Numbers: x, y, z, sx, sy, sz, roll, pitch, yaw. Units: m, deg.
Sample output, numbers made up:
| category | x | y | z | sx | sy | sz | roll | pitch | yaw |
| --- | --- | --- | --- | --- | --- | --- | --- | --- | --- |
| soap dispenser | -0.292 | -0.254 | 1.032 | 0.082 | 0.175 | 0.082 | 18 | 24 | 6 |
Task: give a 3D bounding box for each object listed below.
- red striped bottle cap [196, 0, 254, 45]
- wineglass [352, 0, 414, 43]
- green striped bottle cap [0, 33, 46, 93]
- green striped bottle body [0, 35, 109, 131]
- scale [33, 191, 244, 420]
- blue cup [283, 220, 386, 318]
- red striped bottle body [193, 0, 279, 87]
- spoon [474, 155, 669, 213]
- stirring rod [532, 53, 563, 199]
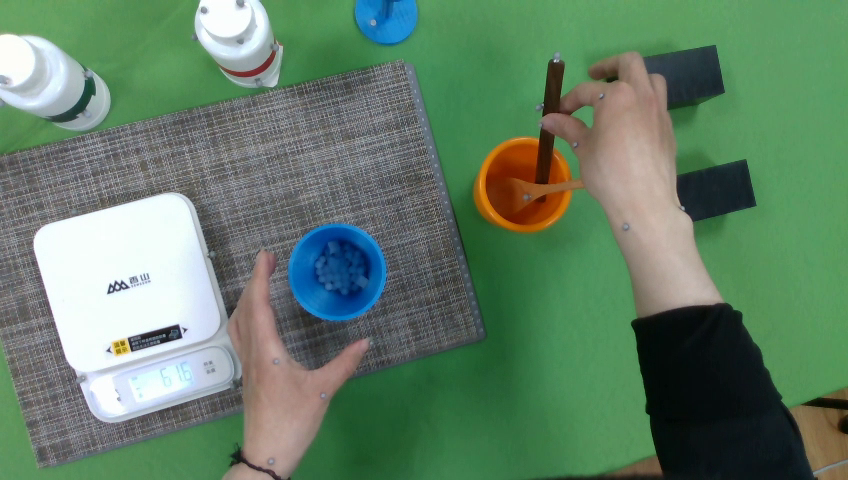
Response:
| category | x | y | z | sx | sy | sz | roll | pitch | yaw |
| --- | --- | --- | --- | --- | --- | --- | --- | --- | --- |
| red striped bottle cap | -0.165 | -0.187 | 0.504 | 0.044 | 0.018 | 0.044 | 0 | 87 | -5 |
| wineglass | -0.034 | -0.239 | 0.547 | 0.074 | 0.172 | 0.073 | 0 | 89 | -6 |
| green striped bottle cap | -0.328 | -0.141 | 0.481 | 0.044 | 0.020 | 0.044 | 0 | 90 | -5 |
| green striped bottle body | -0.334 | -0.138 | 0.537 | 0.063 | 0.119 | 0.063 | 0 | 89 | -7 |
| scale | -0.271 | 0.063 | 0.583 | 0.149 | 0.031 | 0.201 | -16 | 92 | -6 |
| blue cup | -0.080 | 0.025 | 0.571 | 0.093 | 0.100 | 0.092 | 0 | 90 | -6 |
| red striped bottle body | -0.171 | -0.186 | 0.557 | 0.063 | 0.119 | 0.063 | 0 | 89 | -7 |
| spoon | 0.133 | -0.056 | 0.578 | 0.022 | 0.193 | 0.041 | -15 | 97 | -51 |
| stirring rod | 0.110 | -0.095 | 0.551 | 0.014 | 0.178 | 0.006 | 12 | 57 | 13 |
